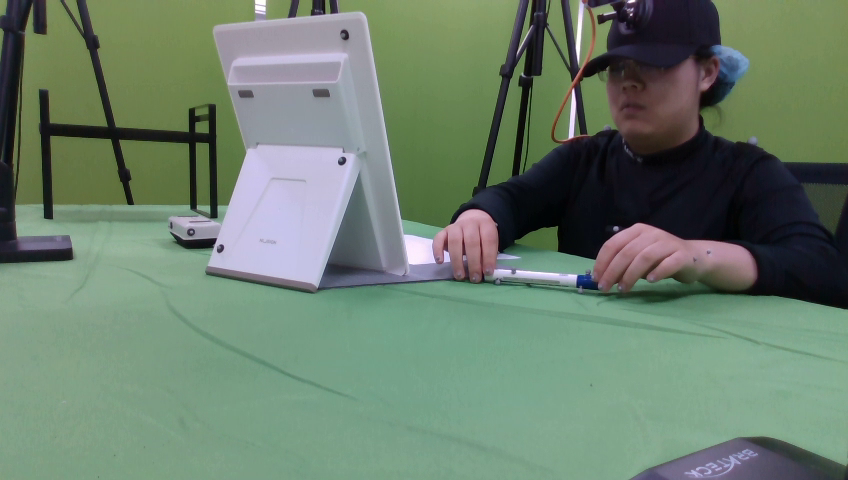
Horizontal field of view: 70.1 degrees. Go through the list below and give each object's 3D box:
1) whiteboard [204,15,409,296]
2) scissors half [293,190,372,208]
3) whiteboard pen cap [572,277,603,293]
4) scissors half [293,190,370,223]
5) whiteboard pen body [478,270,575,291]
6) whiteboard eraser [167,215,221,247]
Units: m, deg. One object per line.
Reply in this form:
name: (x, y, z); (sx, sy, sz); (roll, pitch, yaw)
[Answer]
whiteboard: (-0.166, -0.072, 0.669); (0.216, 0.305, 0.144); (8, 30, 30)
scissors half: (-0.201, -0.096, 1.333); (0.175, 0.040, 0.013); (5, 18, -4)
whiteboard pen cap: (0.185, 0.051, 0.687); (0.033, 0.018, 0.018); (2, 7, 19)
scissors half: (-0.205, -0.078, 1.338); (0.175, 0.040, 0.013); (22, 11, -8)
whiteboard pen body: (0.132, 0.048, 0.707); (0.140, 0.017, 0.017); (4, 7, 18)
whiteboard eraser: (-0.350, -0.014, 0.920); (0.056, 0.042, 0.112); (0, 7, -35)
